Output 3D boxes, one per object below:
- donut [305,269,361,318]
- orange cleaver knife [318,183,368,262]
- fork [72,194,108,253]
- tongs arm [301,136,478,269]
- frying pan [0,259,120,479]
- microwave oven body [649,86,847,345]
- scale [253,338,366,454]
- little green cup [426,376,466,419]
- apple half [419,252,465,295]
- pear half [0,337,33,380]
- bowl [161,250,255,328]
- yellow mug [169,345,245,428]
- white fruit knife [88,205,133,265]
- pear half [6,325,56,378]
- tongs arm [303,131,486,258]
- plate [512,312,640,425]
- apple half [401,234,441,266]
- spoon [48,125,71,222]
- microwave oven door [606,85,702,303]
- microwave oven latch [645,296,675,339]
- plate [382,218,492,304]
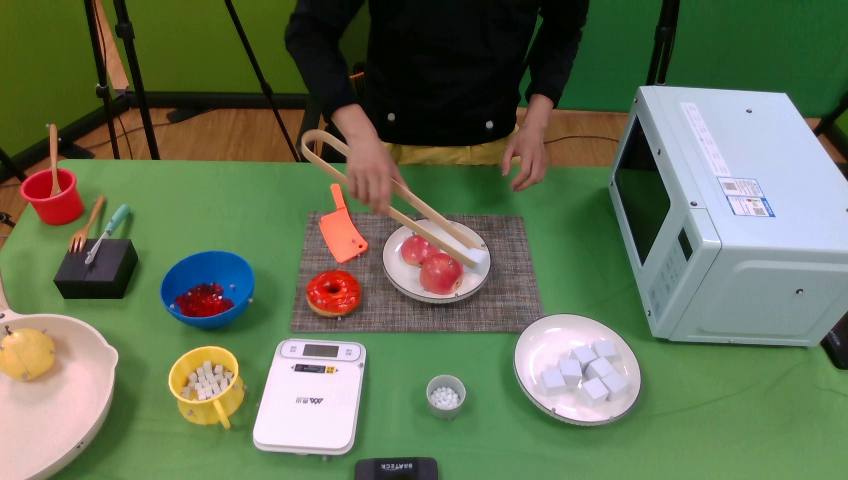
[{"bbox_3d":[-0.160,0.094,1.075,0.099,0.048,0.098,3,45,-3],"label":"donut"},{"bbox_3d":[-0.173,-0.037,1.218,0.077,0.012,0.210,-16,51,-12],"label":"orange cleaver knife"},{"bbox_3d":[-0.634,-0.036,1.158,0.028,0.019,0.206,-8,32,-8],"label":"fork"},{"bbox_3d":[-0.069,-0.064,1.055,0.387,0.028,0.028,34,62,9],"label":"tongs arm"},{"bbox_3d":[-0.647,0.164,0.936,0.307,0.103,0.485,-19,58,-22],"label":"frying pan"},{"bbox_3d":[0.567,-0.053,1.118,0.326,0.261,0.439,2,45,-1],"label":"microwave oven body"},{"bbox_3d":[-0.175,0.236,0.951,0.149,0.032,0.199,4,45,-1],"label":"scale"},{"bbox_3d":[0.033,0.248,0.950,0.061,0.039,0.061,2,46,-2],"label":"little green cup"},{"bbox_3d":[0.035,0.056,1.109,0.074,0.053,0.081,38,56,25],"label":"apple half"},{"bbox_3d":[-0.631,0.184,0.921,0.070,0.088,0.031,29,49,19],"label":"pear half"},{"bbox_3d":[-0.362,0.098,1.039,0.151,0.077,0.150,2,45,-2],"label":"bowl"},{"bbox_3d":[-0.322,0.230,0.922,0.100,0.064,0.130,-24,53,-25],"label":"yellow mug"},{"bbox_3d":[-0.584,-0.013,1.129,0.016,0.027,0.206,0,32,-5],"label":"white fruit knife"},{"bbox_3d":[-0.608,0.158,0.935,0.076,0.110,0.056,31,51,20],"label":"pear half"},{"bbox_3d":[-0.056,-0.079,1.067,0.384,0.026,0.050,38,59,11],"label":"tongs arm"},{"bbox_3d":[0.246,0.213,0.999,0.208,0.039,0.206,2,46,-2],"label":"plate"},{"bbox_3d":[-0.005,0.014,1.159,0.081,0.033,0.081,4,44,-4],"label":"apple half"},{"bbox_3d":[-0.718,-0.131,1.188,0.041,0.021,0.193,-3,90,-6],"label":"spoon"},{"bbox_3d":[0.422,-0.094,1.140,0.039,0.245,0.353,2,46,-1],"label":"microwave oven door"},{"bbox_3d":[0.412,0.134,1.061,0.030,0.029,0.078,3,45,0],"label":"microwave oven latch"},{"bbox_3d":[0.023,0.042,1.143,0.209,0.038,0.208,2,46,-2],"label":"plate"}]
